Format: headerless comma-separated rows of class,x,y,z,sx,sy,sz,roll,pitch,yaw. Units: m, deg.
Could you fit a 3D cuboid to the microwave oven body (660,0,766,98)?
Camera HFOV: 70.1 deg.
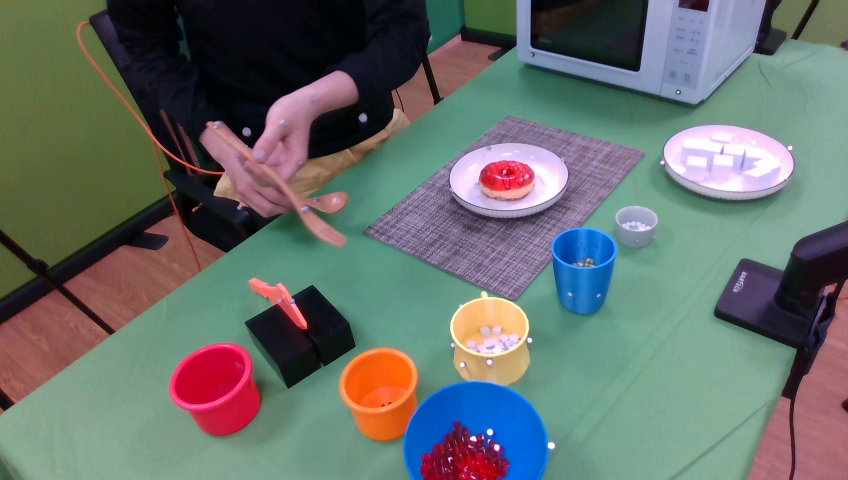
microwave oven body,0.473,-0.514,1.317,0.438,0.261,0.327,26,51,34

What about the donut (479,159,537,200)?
donut,0.145,-0.106,1.042,0.099,0.048,0.098,-4,38,4

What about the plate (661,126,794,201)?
plate,0.513,-0.127,1.035,0.207,0.039,0.206,-4,40,4

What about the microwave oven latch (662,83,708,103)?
microwave oven latch,0.518,-0.296,1.204,0.078,0.029,0.030,28,52,35

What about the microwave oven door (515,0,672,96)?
microwave oven door,0.343,-0.455,1.259,0.353,0.245,0.039,26,51,33

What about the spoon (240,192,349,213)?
spoon,-0.214,-0.062,0.991,0.193,0.022,0.041,1,60,10

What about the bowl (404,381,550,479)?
bowl,0.058,0.235,0.645,0.151,0.077,0.150,-4,39,4

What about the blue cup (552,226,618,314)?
blue cup,0.218,0.047,0.826,0.092,0.101,0.092,-6,40,5

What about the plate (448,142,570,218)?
plate,0.148,-0.101,1.053,0.209,0.038,0.208,-4,40,4

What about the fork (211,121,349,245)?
fork,-0.168,-0.065,0.712,0.018,0.208,0.028,-37,14,29

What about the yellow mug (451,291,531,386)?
yellow mug,0.086,0.120,0.786,0.100,0.064,0.130,-7,39,1

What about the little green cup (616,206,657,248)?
little green cup,0.327,-0.019,0.935,0.061,0.039,0.061,-4,40,4

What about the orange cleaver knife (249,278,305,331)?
orange cleaver knife,-0.210,0.088,0.856,0.012,0.077,0.210,-28,15,-25
